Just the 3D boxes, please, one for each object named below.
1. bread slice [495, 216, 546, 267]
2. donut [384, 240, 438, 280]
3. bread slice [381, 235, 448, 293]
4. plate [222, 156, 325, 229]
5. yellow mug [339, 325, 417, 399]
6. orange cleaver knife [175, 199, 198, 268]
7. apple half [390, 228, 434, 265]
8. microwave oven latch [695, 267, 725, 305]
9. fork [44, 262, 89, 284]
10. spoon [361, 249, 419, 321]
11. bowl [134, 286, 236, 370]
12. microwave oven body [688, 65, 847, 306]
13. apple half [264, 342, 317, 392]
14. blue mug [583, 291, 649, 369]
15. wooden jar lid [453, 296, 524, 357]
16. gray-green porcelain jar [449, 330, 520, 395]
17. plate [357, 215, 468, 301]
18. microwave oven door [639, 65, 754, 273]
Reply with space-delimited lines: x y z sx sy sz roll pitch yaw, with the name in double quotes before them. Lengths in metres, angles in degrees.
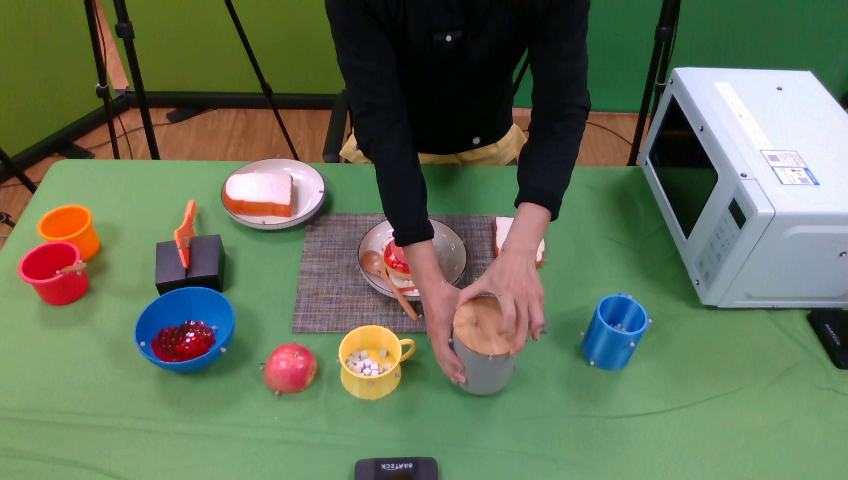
"bread slice" 0.194 0.002 1.204 0.105 0.019 0.131 5 45 2
"donut" -0.025 0.029 1.109 0.099 0.048 0.098 1 47 -1
"bread slice" -0.027 0.041 1.142 0.107 0.018 0.133 -11 51 -16
"plate" -0.308 -0.095 1.251 0.209 0.038 0.208 2 47 -2
"yellow mug" -0.072 0.190 0.978 0.131 0.064 0.099 -17 50 -20
"orange cleaver knife" -0.438 -0.017 1.138 0.012 0.077 0.210 -13 27 -7
"apple half" -0.022 0.003 1.085 0.081 0.033 0.081 7 49 -7
"microwave oven latch" 0.524 0.082 1.115 0.030 0.029 0.078 5 46 2
"fork" -0.599 0.054 1.014 0.207 0.019 0.028 -15 29 45
"spoon" -0.061 0.078 1.077 0.041 0.022 0.192 -22 43 -20
"bowl" -0.377 0.155 0.981 0.151 0.077 0.150 2 46 -2
"microwave oven body" 0.669 -0.111 1.176 0.326 0.261 0.439 0 46 -3
"apple half" -0.214 0.198 0.970 0.074 0.053 0.080 19 48 11
"blue mug" 0.324 0.142 1.023 0.082 0.106 0.116 15 47 11
"wooden jar lid" 0.097 0.133 0.916 0.108 0.021 0.107 3 48 -3
"gray-green porcelain jar" 0.095 0.176 0.961 0.106 0.127 0.105 2 46 -2
"plate" -0.022 0.037 1.141 0.208 0.039 0.206 2 46 -2
"microwave oven door" 0.522 -0.147 1.192 0.039 0.245 0.353 0 47 -3
